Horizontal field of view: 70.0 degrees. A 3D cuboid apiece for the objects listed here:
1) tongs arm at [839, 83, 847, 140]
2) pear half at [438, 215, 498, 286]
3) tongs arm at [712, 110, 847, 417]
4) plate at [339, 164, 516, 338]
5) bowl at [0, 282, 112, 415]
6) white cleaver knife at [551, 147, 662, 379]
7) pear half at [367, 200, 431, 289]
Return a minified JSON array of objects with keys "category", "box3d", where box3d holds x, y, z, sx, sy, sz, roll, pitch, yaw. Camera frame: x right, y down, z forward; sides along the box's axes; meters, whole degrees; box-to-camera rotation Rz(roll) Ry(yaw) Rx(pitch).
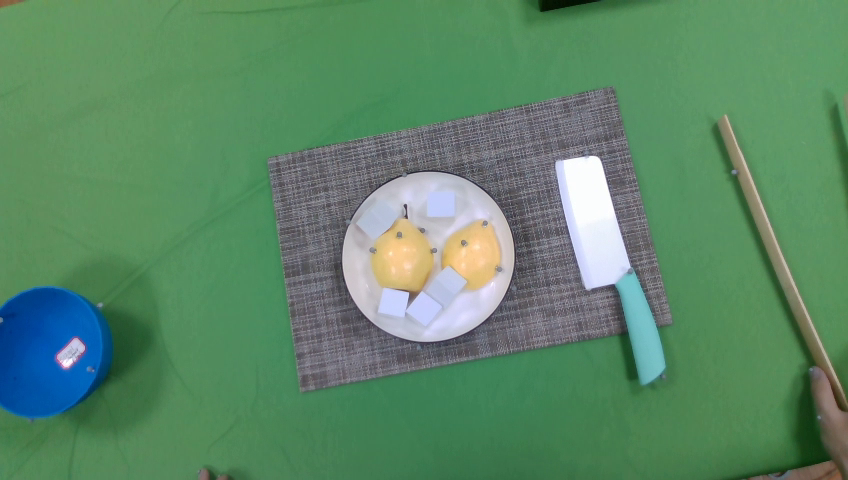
[{"category":"tongs arm","box3d":[0.496,0.009,0.694,0.051,0.026,0.383,-6,82,5]},{"category":"pear half","box3d":[0.053,0.010,0.718,0.070,0.031,0.088,21,89,4]},{"category":"tongs arm","box3d":[0.417,0.024,0.703,0.028,0.028,0.386,-19,80,0]},{"category":"plate","box3d":[0.005,0.013,0.727,0.207,0.039,0.207,-1,81,5]},{"category":"bowl","box3d":[-0.436,0.129,0.725,0.151,0.077,0.151,-1,81,4]},{"category":"white cleaver knife","box3d":[0.214,0.024,0.723,0.066,0.022,0.285,-16,77,12]},{"category":"pear half","box3d":[-0.030,0.001,0.717,0.076,0.056,0.109,-1,77,0]}]
